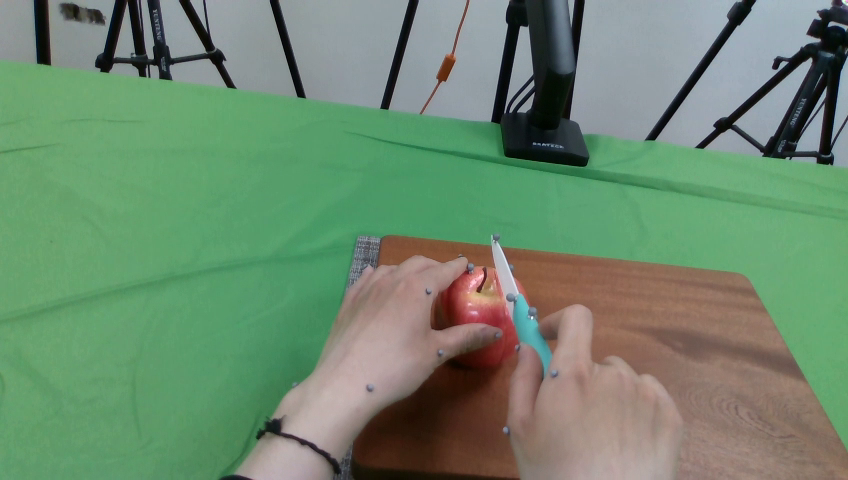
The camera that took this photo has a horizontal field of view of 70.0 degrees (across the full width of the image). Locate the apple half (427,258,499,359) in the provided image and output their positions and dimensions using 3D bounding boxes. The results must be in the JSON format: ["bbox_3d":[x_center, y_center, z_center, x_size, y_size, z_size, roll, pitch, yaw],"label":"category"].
[{"bbox_3d":[0.029,0.058,0.506,0.053,0.075,0.080,-2,45,-6],"label":"apple half"}]

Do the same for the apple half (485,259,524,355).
[{"bbox_3d":[0.067,0.058,0.512,0.033,0.082,0.080,-1,41,-6],"label":"apple half"}]

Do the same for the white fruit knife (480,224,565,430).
[{"bbox_3d":[0.064,0.047,0.445,0.016,0.027,0.205,6,34,-14],"label":"white fruit knife"}]
